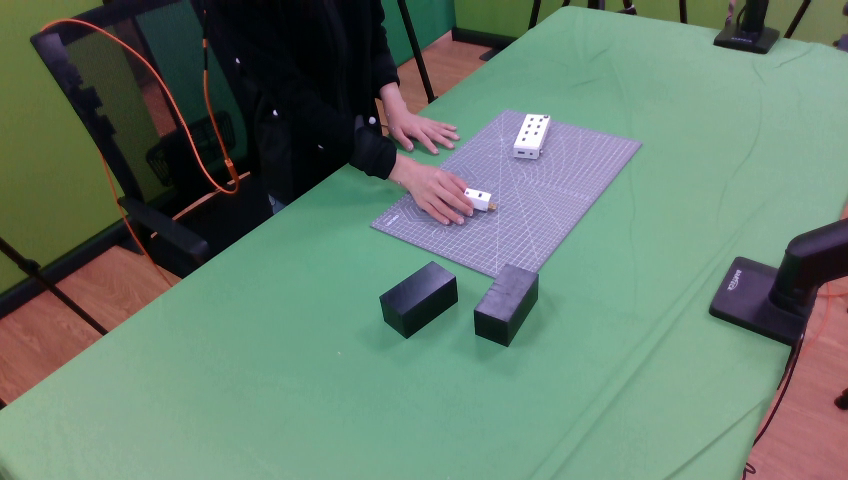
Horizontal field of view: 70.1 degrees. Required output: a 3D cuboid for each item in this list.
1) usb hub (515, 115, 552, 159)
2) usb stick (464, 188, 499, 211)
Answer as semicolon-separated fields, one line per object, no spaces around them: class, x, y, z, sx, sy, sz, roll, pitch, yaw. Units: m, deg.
usb hub;0.213;-0.201;1.173;0.049;0.025;0.125;9;43;18
usb stick;0.099;-0.067;1.023;0.059;0.027;0.021;18;49;8
